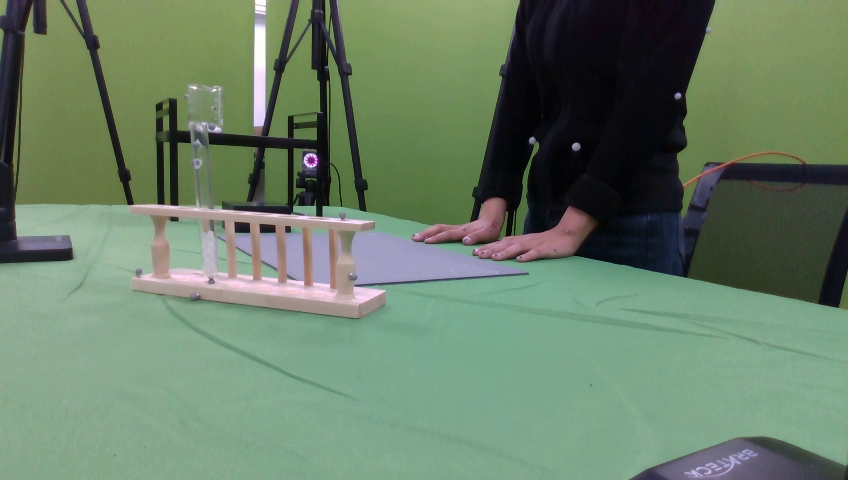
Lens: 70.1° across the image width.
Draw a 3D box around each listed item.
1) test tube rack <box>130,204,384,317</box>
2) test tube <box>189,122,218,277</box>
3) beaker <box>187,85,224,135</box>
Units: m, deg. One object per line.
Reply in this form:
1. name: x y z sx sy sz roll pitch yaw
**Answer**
1. test tube rack: -0.163 0.013 0.589 0.242 0.085 0.067 5 8 17
2. test tube: -0.210 -0.037 0.576 0.017 0.150 0.017 0 14 0
3. beaker: -0.466 -0.276 1.296 0.074 0.100 0.083 -3 10 -35
